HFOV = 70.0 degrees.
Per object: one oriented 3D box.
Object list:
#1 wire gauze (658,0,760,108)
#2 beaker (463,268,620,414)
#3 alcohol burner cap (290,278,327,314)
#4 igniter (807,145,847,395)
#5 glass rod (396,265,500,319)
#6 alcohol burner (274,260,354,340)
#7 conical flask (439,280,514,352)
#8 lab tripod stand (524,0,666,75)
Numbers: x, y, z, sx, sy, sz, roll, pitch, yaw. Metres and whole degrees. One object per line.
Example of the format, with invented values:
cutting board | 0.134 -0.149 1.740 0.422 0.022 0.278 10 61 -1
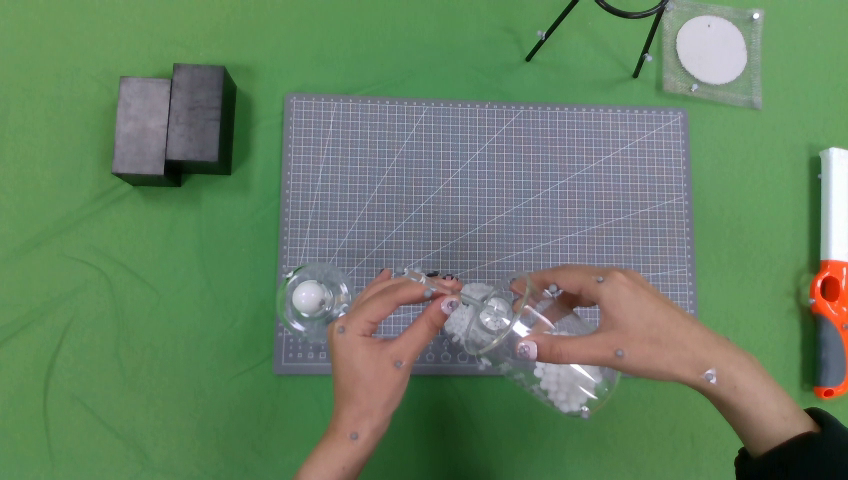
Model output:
wire gauze | 0.331 -0.220 0.702 0.125 0.011 0.121 7 82 -5
beaker | 0.089 0.079 0.460 0.101 0.083 0.074 36 85 -13
alcohol burner cap | -0.104 0.050 0.540 0.034 0.048 0.034 1 85 -7
igniter | 0.448 0.031 0.667 0.057 0.025 0.275 8 82 -14
glass rod | 0.026 0.044 0.467 0.008 0.201 0.008 -7 72 23
alcohol burner | -0.107 0.056 0.576 0.078 0.119 0.077 0 81 -2
conical flask | 0.056 0.071 0.582 0.075 0.122 0.075 1 81 -4
lab tripod stand | 0.185 -0.241 0.631 0.148 0.131 0.148 0 84 -4
